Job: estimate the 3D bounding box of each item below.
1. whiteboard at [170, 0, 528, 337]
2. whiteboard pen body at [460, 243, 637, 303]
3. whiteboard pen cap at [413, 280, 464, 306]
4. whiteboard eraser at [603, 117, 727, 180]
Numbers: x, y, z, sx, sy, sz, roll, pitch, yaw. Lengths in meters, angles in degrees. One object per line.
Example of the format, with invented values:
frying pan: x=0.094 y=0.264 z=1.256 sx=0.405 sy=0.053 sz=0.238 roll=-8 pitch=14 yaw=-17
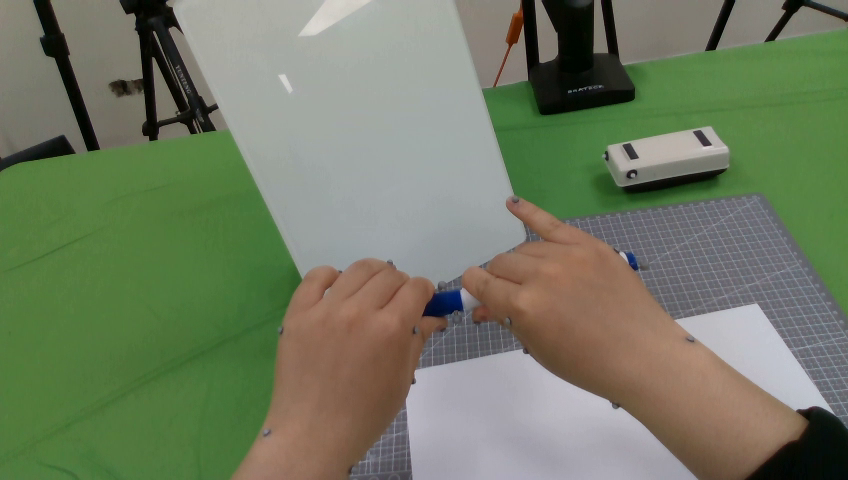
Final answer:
whiteboard: x=-0.065 y=-0.108 z=0.575 sx=0.217 sy=0.307 sz=0.142 roll=-27 pitch=23 yaw=-14
whiteboard pen body: x=0.068 y=0.024 z=0.395 sx=0.141 sy=0.017 sz=0.017 roll=-13 pitch=41 yaw=2
whiteboard pen cap: x=0.010 y=0.035 z=0.395 sx=0.033 sy=0.018 sz=0.018 roll=-2 pitch=41 yaw=-8
whiteboard eraser: x=0.249 y=-0.093 z=0.631 sx=0.112 sy=0.042 sz=0.055 roll=-9 pitch=44 yaw=3
